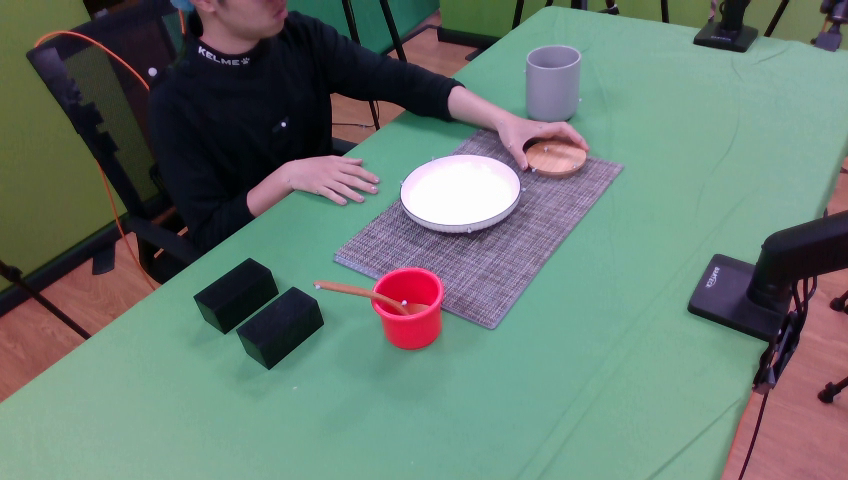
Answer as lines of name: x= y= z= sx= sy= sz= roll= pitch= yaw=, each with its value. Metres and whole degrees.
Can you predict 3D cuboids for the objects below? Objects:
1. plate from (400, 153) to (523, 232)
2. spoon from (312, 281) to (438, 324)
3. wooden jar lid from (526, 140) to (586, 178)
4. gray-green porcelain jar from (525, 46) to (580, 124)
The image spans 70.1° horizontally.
plate: x=0.065 y=-0.078 z=1.034 sx=0.207 sy=0.039 sz=0.206 roll=-4 pitch=41 yaw=4
spoon: x=-0.060 y=0.078 z=0.793 sx=0.195 sy=0.021 sz=0.041 roll=24 pitch=25 yaw=-35
wooden jar lid: x=0.240 y=-0.147 z=1.103 sx=0.108 sy=0.021 sz=0.108 roll=-4 pitch=42 yaw=4
gray-green porcelain jar: x=0.256 y=-0.305 z=1.209 sx=0.106 sy=0.127 sz=0.105 roll=-4 pitch=41 yaw=4
